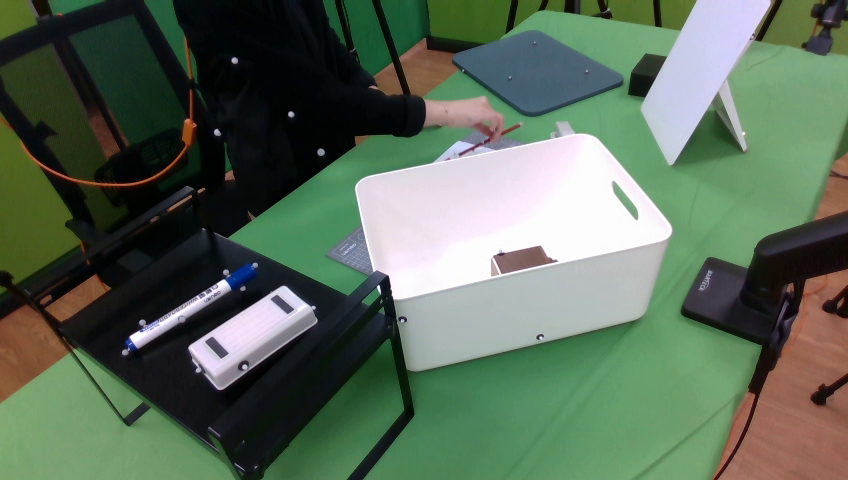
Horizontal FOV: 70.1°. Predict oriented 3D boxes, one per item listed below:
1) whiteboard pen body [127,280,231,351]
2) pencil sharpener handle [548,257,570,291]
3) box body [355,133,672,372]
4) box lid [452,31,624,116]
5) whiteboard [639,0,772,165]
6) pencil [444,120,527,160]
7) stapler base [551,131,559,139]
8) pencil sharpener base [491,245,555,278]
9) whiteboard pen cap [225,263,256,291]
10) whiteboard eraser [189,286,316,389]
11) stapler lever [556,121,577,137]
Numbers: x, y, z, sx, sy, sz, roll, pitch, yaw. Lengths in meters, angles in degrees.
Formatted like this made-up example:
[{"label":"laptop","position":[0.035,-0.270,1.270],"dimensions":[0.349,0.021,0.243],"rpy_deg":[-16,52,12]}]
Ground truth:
[{"label":"whiteboard pen body","position":[-0.248,0.072,0.645],"dimensions":[0.141,0.017,0.017],"rpy_deg":[-35,47,-23]},{"label":"pencil sharpener handle","position":[0.182,0.045,0.801],"dimensions":[0.031,0.068,0.035],"rpy_deg":[-12,57,-7]},{"label":"box body","position":[0.108,0.013,0.834],"dimensions":[0.365,0.161,0.252],"rpy_deg":[-12,41,-6]},{"label":"box lid","position":[0.256,-0.401,1.419],"dimensions":[0.264,0.015,0.368],"rpy_deg":[-22,43,-17]},{"label":"whiteboard","position":[0.543,-0.298,1.076],"dimensions":[0.144,0.305,0.216],"rpy_deg":[12,40,-7]},{"label":"pencil","position":[0.119,-0.190,1.141],"dimensions":[0.195,0.012,0.012],"rpy_deg":[-28,45,-19]},{"label":"stapler base","position":[0.268,-0.178,1.142],"dimensions":[0.041,0.024,0.130],"rpy_deg":[0,37,3]},{"label":"pencil sharpener base","position":[0.134,0.068,0.800],"dimensions":[0.077,0.107,0.061],"rpy_deg":[-12,42,-7]},{"label":"whiteboard pen cap","position":[-0.204,0.041,0.668],"dimensions":[0.033,0.018,0.018],"rpy_deg":[-36,48,-22]},{"label":"whiteboard eraser","position":[-0.166,0.096,0.593],"dimensions":[0.113,0.042,0.055],"rpy_deg":[-36,47,-29]},{"label":"stapler lever","position":[0.266,-0.198,1.128],"dimensions":[0.027,0.040,0.117],"rpy_deg":[0,38,3]}]
